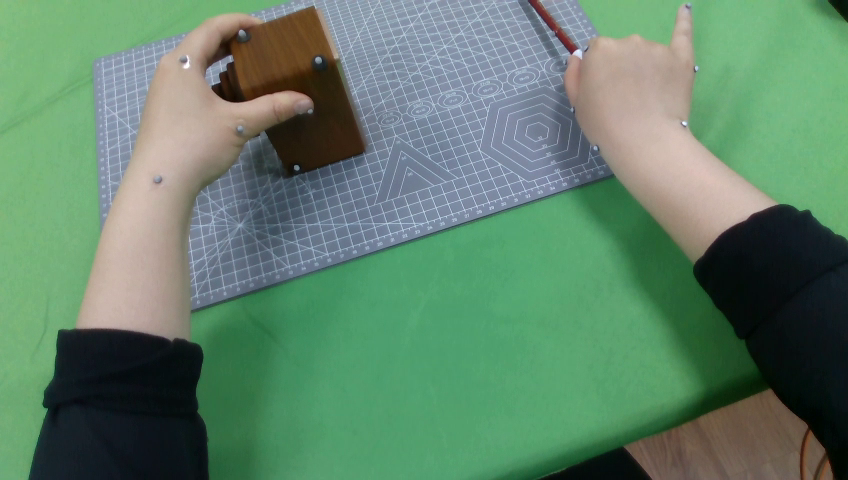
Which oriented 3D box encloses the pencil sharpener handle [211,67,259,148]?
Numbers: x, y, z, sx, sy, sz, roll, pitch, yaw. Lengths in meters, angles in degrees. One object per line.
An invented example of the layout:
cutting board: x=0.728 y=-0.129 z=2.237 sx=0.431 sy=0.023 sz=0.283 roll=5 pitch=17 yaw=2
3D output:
pencil sharpener handle: x=-0.146 y=-0.094 z=0.451 sx=0.030 sy=0.068 sz=0.035 roll=-20 pitch=62 yaw=-4

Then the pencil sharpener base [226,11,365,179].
pencil sharpener base: x=-0.097 y=-0.106 z=0.465 sx=0.077 sy=0.108 sz=0.061 roll=-20 pitch=61 yaw=-4

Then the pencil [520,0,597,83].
pencil: x=0.103 y=-0.201 z=0.545 sx=0.012 sy=0.012 sz=0.192 roll=-21 pitch=55 yaw=-5
